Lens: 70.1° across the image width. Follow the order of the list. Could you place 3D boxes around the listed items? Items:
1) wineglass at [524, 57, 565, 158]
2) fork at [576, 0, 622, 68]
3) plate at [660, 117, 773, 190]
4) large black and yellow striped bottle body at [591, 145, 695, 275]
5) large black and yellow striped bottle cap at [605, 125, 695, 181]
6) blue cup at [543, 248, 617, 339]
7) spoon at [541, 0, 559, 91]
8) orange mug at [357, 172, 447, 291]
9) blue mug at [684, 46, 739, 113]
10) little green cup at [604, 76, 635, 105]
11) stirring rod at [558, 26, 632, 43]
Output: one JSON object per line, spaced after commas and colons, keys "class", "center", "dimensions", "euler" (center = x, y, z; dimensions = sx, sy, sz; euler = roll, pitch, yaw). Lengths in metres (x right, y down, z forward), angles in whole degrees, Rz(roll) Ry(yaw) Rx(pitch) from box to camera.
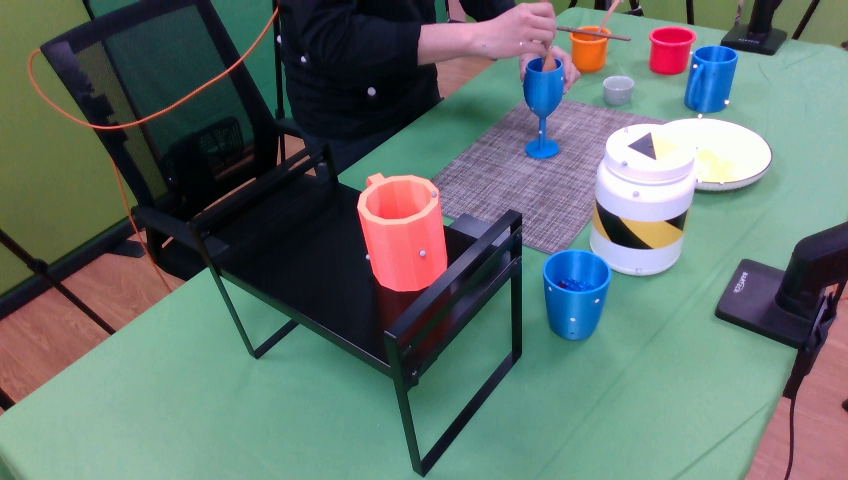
{"class": "wineglass", "center": [0.219, -0.239, 1.101], "dimensions": [0.074, 0.173, 0.073], "euler": [-5, 41, 5]}
{"class": "fork", "center": [0.409, -0.484, 1.381], "dimensions": [0.028, 0.019, 0.207], "euler": [37, 101, 45]}
{"class": "plate", "center": [0.495, -0.148, 1.063], "dimensions": [0.209, 0.038, 0.208], "euler": [-5, 40, 4]}
{"class": "large black and yellow striped bottle body", "center": [0.313, -0.056, 0.870], "dimensions": [0.131, 0.185, 0.130], "euler": [-4, 40, 4]}
{"class": "large black and yellow striped bottle cap", "center": [0.304, -0.120, 0.817], "dimensions": [0.115, 0.019, 0.114], "euler": [-3, 41, 3]}
{"class": "blue cup", "center": [0.199, 0.076, 0.797], "dimensions": [0.092, 0.100, 0.092], "euler": [-4, 39, 4]}
{"class": "spoon", "center": [0.207, -0.342, 1.020], "dimensions": [0.042, 0.194, 0.021], "euler": [-29, 37, -21]}
{"class": "orange mug", "center": [-0.030, -0.018, 0.669], "dimensions": [0.084, 0.101, 0.125], "euler": [-23, 47, -16]}
{"class": "blue mug", "center": [0.556, -0.310, 1.190], "dimensions": [0.117, 0.106, 0.081], "euler": [-32, 46, -25]}
{"class": "little green cup", "center": [0.408, -0.311, 1.266], "dimensions": [0.061, 0.039, 0.061], "euler": [-4, 40, 4]}
{"class": "stirring rod", "center": [0.381, -0.462, 1.356], "dimensions": [0.175, 0.006, 0.014], "euler": [22, 49, 29]}
